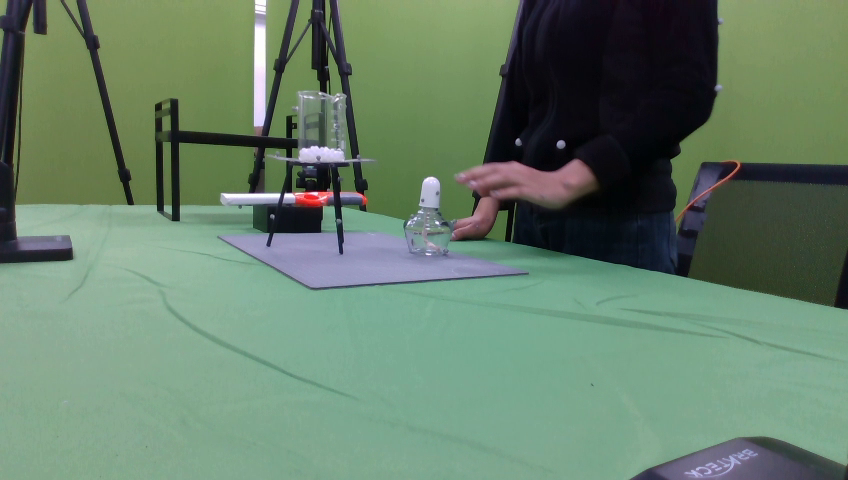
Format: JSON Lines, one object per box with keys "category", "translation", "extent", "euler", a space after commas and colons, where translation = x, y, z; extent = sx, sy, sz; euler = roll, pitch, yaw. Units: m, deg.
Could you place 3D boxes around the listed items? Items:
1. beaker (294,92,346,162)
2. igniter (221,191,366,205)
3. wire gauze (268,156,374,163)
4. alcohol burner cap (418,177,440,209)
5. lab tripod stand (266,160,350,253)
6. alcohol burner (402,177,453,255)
{"category": "beaker", "translation": [-0.152, -0.165, 0.896], "extent": [0.074, 0.100, 0.083], "euler": [-4, 10, -33]}
{"category": "igniter", "translation": [-0.240, -0.079, 1.150], "extent": [0.278, 0.025, 0.057], "euler": [-3, 20, -32]}
{"category": "wire gauze", "translation": [-0.154, -0.119, 0.910], "extent": [0.122, 0.011, 0.124], "euler": [-4, 8, -45]}
{"category": "alcohol burner cap", "translation": [0.009, -0.071, 0.909], "extent": [0.034, 0.048, 0.034], "euler": [5, 8, 0]}
{"category": "lab tripod stand", "translation": [-0.163, -0.054, 0.914], "extent": [0.148, 0.131, 0.148], "euler": [2, 9, 0]}
{"category": "alcohol burner", "translation": [0.007, -0.036, 0.915], "extent": [0.078, 0.119, 0.078], "euler": [4, 6, 0]}
